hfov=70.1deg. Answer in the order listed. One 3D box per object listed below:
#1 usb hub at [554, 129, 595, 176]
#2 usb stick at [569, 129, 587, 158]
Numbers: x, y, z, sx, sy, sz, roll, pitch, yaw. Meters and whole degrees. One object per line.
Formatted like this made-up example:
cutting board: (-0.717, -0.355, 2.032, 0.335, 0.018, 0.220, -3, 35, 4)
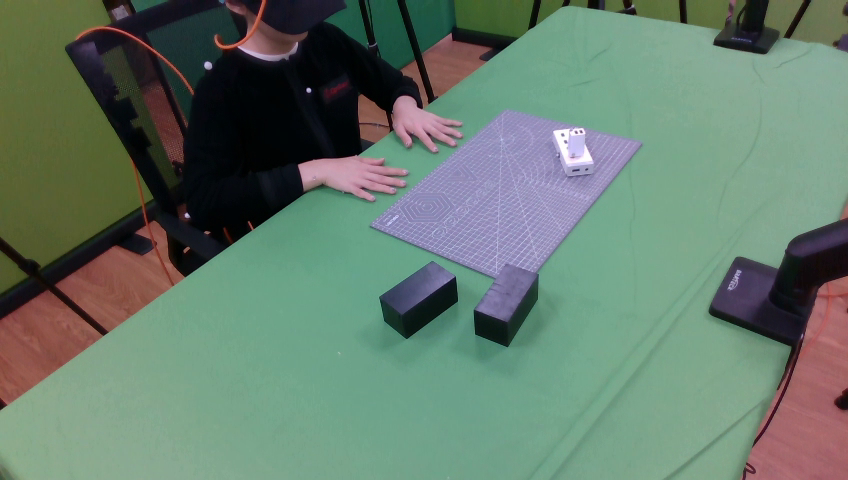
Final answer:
usb hub: (0.278, -0.163, 1.119, 0.049, 0.025, 0.124, -6, 41, 2)
usb stick: (0.273, -0.166, 1.075, 0.027, 0.059, 0.021, -5, 40, -2)
